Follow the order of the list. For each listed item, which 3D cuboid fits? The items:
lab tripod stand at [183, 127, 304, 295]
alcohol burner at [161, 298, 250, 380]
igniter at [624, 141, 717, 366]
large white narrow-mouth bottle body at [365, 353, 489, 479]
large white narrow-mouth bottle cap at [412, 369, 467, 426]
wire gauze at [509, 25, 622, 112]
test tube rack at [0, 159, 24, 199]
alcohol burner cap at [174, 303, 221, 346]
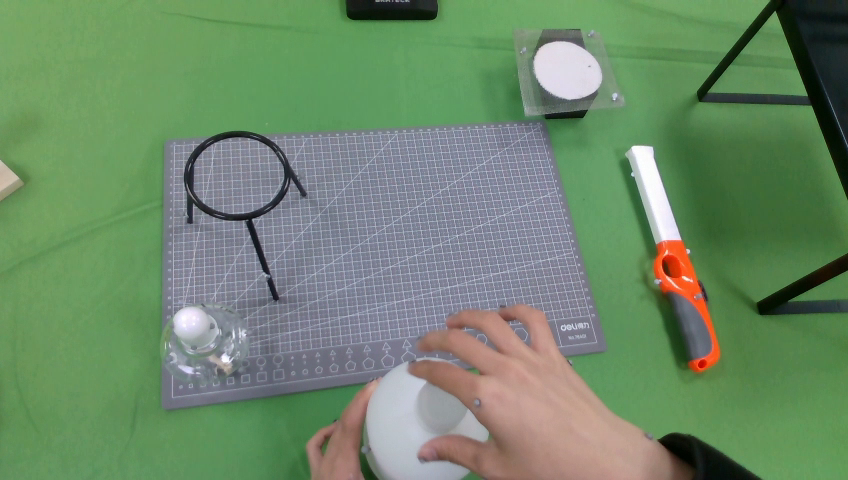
[{"bbox_3d":[-0.169,-0.033,0.589,0.149,0.132,0.147,4,66,-8],"label":"lab tripod stand"},{"bbox_3d":[-0.198,0.083,0.545,0.078,0.120,0.077,4,64,-8],"label":"alcohol burner"},{"bbox_3d":[0.281,0.007,0.696,0.057,0.025,0.274,-1,67,-20],"label":"igniter"},{"bbox_3d":[0.001,0.149,0.503,0.102,0.196,0.101,3,65,-5],"label":"large white narrow-mouth bottle body"},{"bbox_3d":[0.010,0.109,0.418,0.038,0.024,0.037,3,66,-6],"label":"large white narrow-mouth bottle cap"},{"bbox_3d":[0.169,-0.211,0.733,0.122,0.011,0.124,-4,68,-9],"label":"wire gauze"},{"bbox_3d":[-0.520,-0.019,0.562,0.066,0.085,0.242,40,67,10],"label":"test tube rack"},{"bbox_3d":[-0.193,0.070,0.512,0.034,0.048,0.033,2,72,-7],"label":"alcohol burner cap"}]
